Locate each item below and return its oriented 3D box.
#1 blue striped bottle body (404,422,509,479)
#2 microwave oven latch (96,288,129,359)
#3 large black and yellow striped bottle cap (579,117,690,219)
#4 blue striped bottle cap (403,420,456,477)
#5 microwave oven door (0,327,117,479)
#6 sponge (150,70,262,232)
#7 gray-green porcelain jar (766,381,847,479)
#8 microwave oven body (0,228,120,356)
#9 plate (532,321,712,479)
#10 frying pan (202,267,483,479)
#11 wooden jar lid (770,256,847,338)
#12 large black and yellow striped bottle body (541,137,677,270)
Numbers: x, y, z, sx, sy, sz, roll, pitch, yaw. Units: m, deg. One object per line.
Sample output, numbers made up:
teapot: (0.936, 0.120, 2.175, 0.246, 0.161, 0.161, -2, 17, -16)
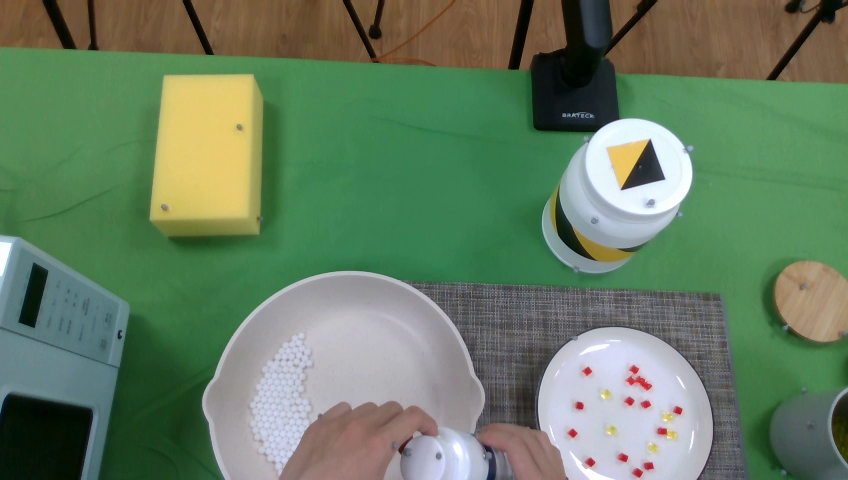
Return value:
blue striped bottle body: (0.028, 0.202, 0.554, 0.063, 0.122, 0.062, -12, 65, 27)
microwave oven latch: (-0.368, 0.097, 0.706, 0.030, 0.029, 0.078, 5, 72, -1)
large black and yellow striped bottle cap: (0.225, -0.079, 0.647, 0.115, 0.019, 0.114, 1, 70, -2)
blue striped bottle cap: (0.004, 0.177, 0.515, 0.044, 0.045, 0.020, 49, 34, 13)
microwave oven door: (-0.375, 0.270, 0.540, 0.039, 0.245, 0.353, 2, 71, -2)
sponge: (-0.279, -0.117, 0.790, 0.118, 0.061, 0.205, -3, 72, -4)
gray-green porcelain jar: (0.461, 0.216, 0.679, 0.106, 0.127, 0.105, 1, 71, -2)
microwave oven body: (-0.518, 0.225, 0.554, 0.326, 0.261, 0.439, 3, 71, -2)
plate: (0.229, 0.201, 0.716, 0.209, 0.038, 0.207, 1, 71, -2)
frying pan: (-0.090, 0.270, 0.643, 0.307, 0.103, 0.483, 1, 63, 0)
wooden jar lid: (0.500, 0.075, 0.785, 0.108, 0.021, 0.107, 1, 73, -2)
large black and yellow striped bottle body: (0.222, -0.050, 0.728, 0.131, 0.185, 0.130, 1, 70, -2)
